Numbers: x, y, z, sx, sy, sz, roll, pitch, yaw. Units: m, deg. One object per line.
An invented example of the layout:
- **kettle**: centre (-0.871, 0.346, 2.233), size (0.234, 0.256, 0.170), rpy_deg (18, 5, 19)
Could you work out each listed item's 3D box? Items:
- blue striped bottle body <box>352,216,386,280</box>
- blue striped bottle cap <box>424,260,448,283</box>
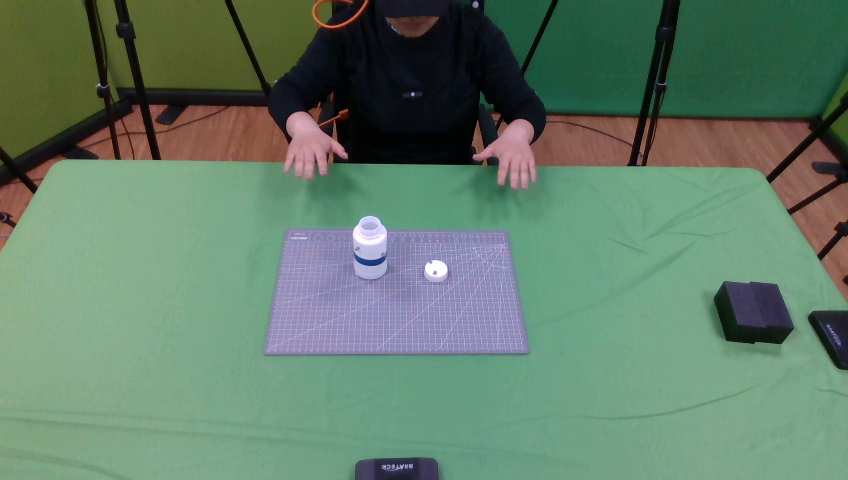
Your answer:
- **blue striped bottle body**: centre (-0.100, 0.012, 1.107), size (0.063, 0.121, 0.062), rpy_deg (2, 46, -2)
- **blue striped bottle cap**: centre (0.022, 0.059, 1.145), size (0.044, 0.021, 0.044), rpy_deg (2, 47, -1)
